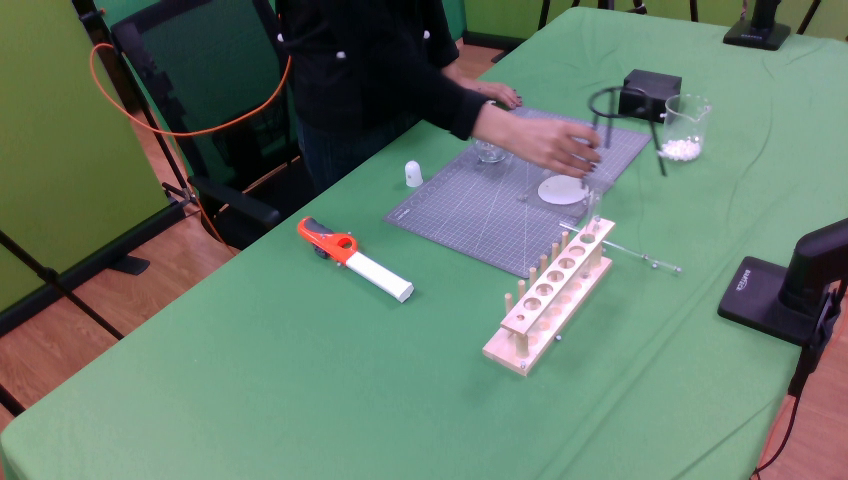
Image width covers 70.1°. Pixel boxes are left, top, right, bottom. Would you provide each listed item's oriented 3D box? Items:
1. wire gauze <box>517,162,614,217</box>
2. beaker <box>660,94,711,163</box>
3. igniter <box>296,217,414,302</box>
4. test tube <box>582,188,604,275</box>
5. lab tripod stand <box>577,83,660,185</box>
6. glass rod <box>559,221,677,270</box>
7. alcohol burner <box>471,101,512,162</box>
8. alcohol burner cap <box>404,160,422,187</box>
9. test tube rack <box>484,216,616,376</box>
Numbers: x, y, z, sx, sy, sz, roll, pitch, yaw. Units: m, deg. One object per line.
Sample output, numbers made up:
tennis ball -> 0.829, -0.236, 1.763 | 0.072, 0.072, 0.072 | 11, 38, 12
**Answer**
wire gauze -> 0.245, -0.088, 1.046 | 0.120, 0.011, 0.125 | 25, 50, 32
beaker -> 0.457, -0.192, 1.063 | 0.074, 0.101, 0.083 | -6, 41, 4
igniter -> -0.121, 0.025, 0.970 | 0.274, 0.025, 0.057 | 29, 63, 37
test tube -> 0.229, -0.007, 0.821 | 0.017, 0.151, 0.017 | -3, 42, 3
lab tripod stand -> 0.301, -0.169, 0.955 | 0.148, 0.132, 0.147 | -7, 40, 6
glass rod -> 0.292, 0.007, 0.927 | 0.198, 0.008, 0.008 | 26, 52, 36
alcohol burner -> 0.125, -0.206, 1.126 | 0.078, 0.119, 0.077 | -5, 43, 5
alcohol burner cap -> -0.022, -0.125, 1.118 | 0.034, 0.048, 0.033 | -4, 40, 4
test tube rack -> 0.174, 0.064, 0.823 | 0.066, 0.085, 0.243 | 23, 49, 32
